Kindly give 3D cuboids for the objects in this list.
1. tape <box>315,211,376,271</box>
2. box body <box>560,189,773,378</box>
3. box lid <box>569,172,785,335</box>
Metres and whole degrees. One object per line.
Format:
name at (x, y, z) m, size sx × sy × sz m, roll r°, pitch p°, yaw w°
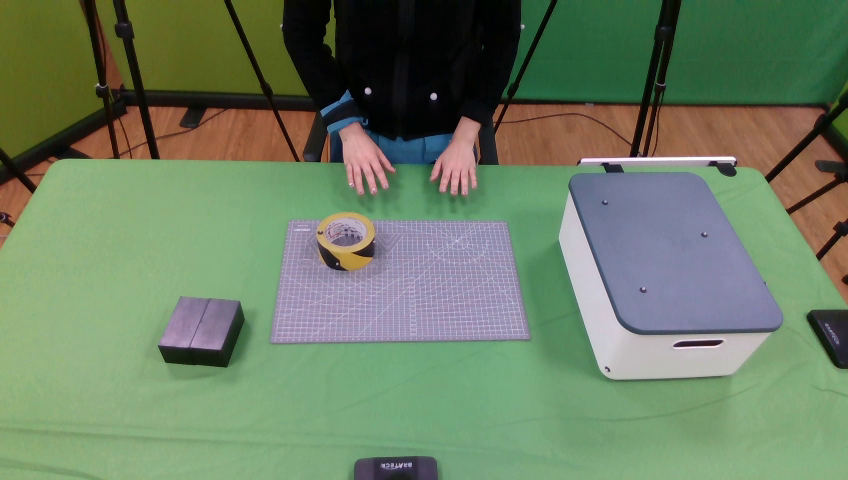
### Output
tape at (-0.150, 0.000, 1.160) m, size 0.117 × 0.053 × 0.116 m, roll 3°, pitch 46°, yaw -3°
box body at (0.405, 0.057, 1.074) m, size 0.254 × 0.161 × 0.361 m, roll -1°, pitch 46°, yaw -5°
box lid at (0.408, 0.007, 1.019) m, size 0.263 × 0.015 × 0.369 m, roll -1°, pitch 46°, yaw -5°
